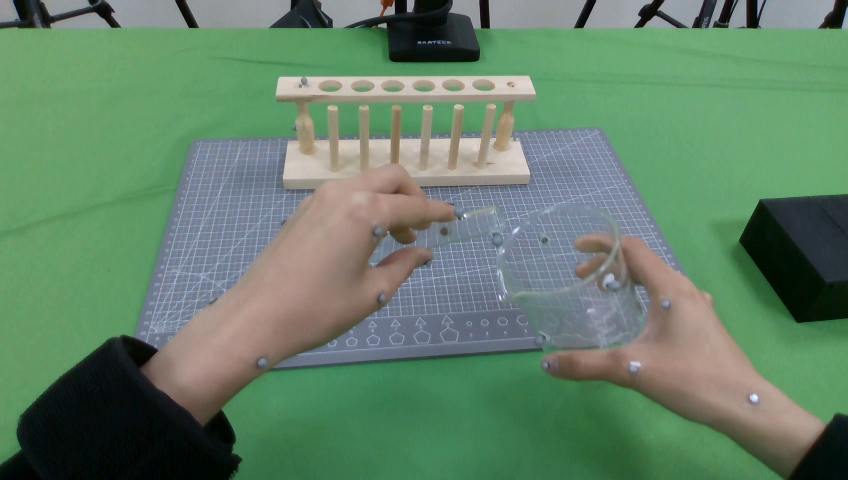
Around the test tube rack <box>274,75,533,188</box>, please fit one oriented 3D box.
[{"bbox_3d":[-0.018,-0.106,0.592,0.243,0.086,0.066,-2,44,-5],"label":"test tube rack"}]

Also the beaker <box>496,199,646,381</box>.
[{"bbox_3d":[0.095,0.038,0.385,0.084,0.101,0.073,-39,37,-10],"label":"beaker"}]

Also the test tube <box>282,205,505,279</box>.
[{"bbox_3d":[-0.024,0.003,0.365,0.150,0.017,0.017,-13,39,23],"label":"test tube"}]
